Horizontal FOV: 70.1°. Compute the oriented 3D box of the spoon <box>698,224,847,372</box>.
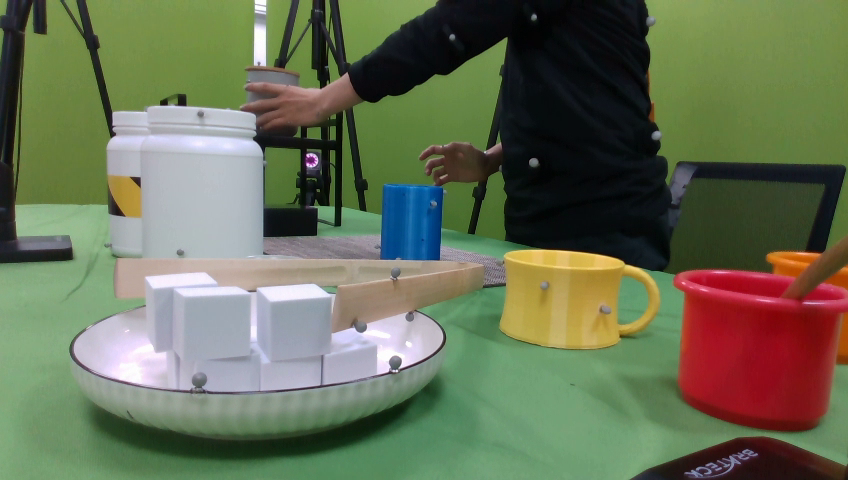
[{"bbox_3d":[0.195,0.032,0.323,0.041,0.021,0.194,1,-36,2],"label":"spoon"}]

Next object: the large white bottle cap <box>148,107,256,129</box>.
[{"bbox_3d":[-0.250,-0.137,0.686,0.115,0.018,0.115,2,8,0],"label":"large white bottle cap"}]

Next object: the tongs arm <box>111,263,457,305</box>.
[{"bbox_3d":[-0.080,0.033,0.527,0.028,0.027,0.389,-4,-4,33],"label":"tongs arm"}]

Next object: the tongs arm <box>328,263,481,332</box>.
[{"bbox_3d":[-0.003,0.036,0.492,0.050,0.026,0.386,1,-1,19],"label":"tongs arm"}]

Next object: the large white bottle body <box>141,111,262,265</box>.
[{"bbox_3d":[-0.254,-0.053,0.697,0.131,0.184,0.130,2,7,0],"label":"large white bottle body"}]

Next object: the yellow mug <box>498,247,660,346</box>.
[{"bbox_3d":[0.130,0.045,0.508,0.131,0.064,0.100,4,7,6],"label":"yellow mug"}]

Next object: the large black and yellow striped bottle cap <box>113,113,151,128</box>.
[{"bbox_3d":[-0.348,-0.154,0.800,0.115,0.019,0.115,2,6,0],"label":"large black and yellow striped bottle cap"}]

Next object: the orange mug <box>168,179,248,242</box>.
[{"bbox_3d":[-0.351,-0.050,0.986,0.126,0.101,0.083,-3,8,-9],"label":"orange mug"}]

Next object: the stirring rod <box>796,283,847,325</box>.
[{"bbox_3d":[0.347,0.019,0.460,0.014,0.176,0.006,-17,59,-26],"label":"stirring rod"}]

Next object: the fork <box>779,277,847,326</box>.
[{"bbox_3d":[0.335,0.018,0.443,0.028,0.018,0.207,-1,-36,-20],"label":"fork"}]

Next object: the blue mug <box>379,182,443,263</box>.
[{"bbox_3d":[-0.019,-0.026,0.833,0.082,0.106,0.116,1,7,-7],"label":"blue mug"}]

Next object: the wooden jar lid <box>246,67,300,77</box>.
[{"bbox_3d":[-0.312,-0.339,1.247,0.108,0.020,0.108,4,8,0],"label":"wooden jar lid"}]

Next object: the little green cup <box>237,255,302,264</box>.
[{"bbox_3d":[-0.150,0.038,0.590,0.061,0.038,0.061,3,7,0],"label":"little green cup"}]

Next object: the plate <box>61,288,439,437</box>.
[{"bbox_3d":[-0.095,0.069,0.362,0.208,0.039,0.207,3,7,0],"label":"plate"}]

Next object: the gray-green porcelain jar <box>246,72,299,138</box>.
[{"bbox_3d":[-0.314,-0.277,1.256,0.106,0.126,0.106,3,8,0],"label":"gray-green porcelain jar"}]

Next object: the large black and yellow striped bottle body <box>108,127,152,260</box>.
[{"bbox_3d":[-0.350,-0.071,0.812,0.131,0.184,0.130,2,7,0],"label":"large black and yellow striped bottle body"}]
